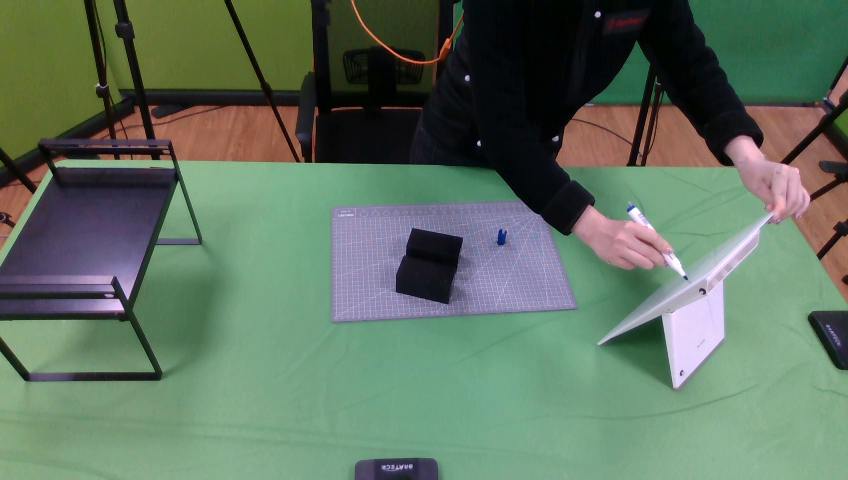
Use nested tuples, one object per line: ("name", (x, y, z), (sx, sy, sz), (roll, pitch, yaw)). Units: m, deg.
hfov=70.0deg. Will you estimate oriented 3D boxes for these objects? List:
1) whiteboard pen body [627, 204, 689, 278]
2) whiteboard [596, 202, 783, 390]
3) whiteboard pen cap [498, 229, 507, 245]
("whiteboard pen body", (0.362, 0.002, 0.933), (0.017, 0.017, 0.140), (-29, 75, -27))
("whiteboard", (0.460, 0.112, 0.967), (0.217, 0.306, 0.143), (-31, 74, -29))
("whiteboard pen cap", (0.155, -0.005, 1.202), (0.018, 0.033, 0.018), (1, 45, 0))
